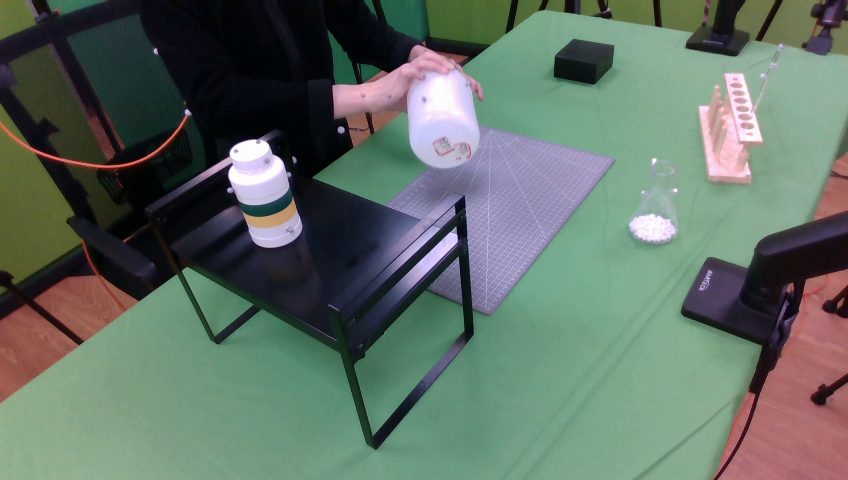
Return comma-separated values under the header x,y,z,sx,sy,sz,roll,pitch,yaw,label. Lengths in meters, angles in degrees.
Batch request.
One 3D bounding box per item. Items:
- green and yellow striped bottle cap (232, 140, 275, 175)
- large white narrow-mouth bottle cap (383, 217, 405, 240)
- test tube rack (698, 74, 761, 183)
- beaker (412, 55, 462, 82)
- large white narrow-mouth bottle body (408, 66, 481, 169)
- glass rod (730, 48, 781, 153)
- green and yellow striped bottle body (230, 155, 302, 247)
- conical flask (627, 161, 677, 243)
x,y,z,sx,sy,sz,roll,pitch,yaw,label
-0.192,-0.094,0.680,0.045,0.020,0.045,-5,39,5,green and yellow striped bottle cap
-0.051,-0.019,1.004,0.038,0.024,0.037,-4,39,4,large white narrow-mouth bottle cap
0.547,-0.208,1.095,0.066,0.085,0.242,5,42,15,test tube rack
0.023,-0.258,1.036,0.084,0.100,0.073,-9,75,-1,beaker
0.027,-0.203,0.917,0.102,0.102,0.193,-6,47,1,large white narrow-mouth bottle body
0.554,-0.228,1.015,0.008,0.200,0.008,1,44,-1,glass rod
-0.188,-0.055,0.714,0.063,0.120,0.063,-4,41,4,green and yellow striped bottle body
0.355,-0.061,0.921,0.075,0.122,0.075,-4,41,4,conical flask
